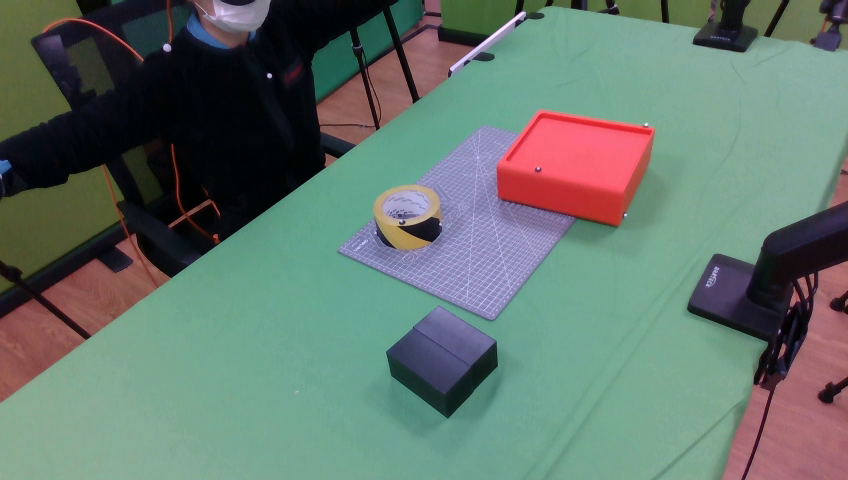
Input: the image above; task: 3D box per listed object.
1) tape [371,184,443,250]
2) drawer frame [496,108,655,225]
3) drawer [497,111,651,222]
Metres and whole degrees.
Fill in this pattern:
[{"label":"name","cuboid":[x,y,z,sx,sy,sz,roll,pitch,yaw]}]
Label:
[{"label":"tape","cuboid":[-0.028,-0.039,0.990,0.117,0.053,0.116,-4,40,4]},{"label":"drawer frame","cuboid":[0.259,-0.132,1.034,0.212,0.083,0.202,16,45,24]},{"label":"drawer","cuboid":[0.257,-0.131,1.034,0.210,0.073,0.195,16,45,24]}]
